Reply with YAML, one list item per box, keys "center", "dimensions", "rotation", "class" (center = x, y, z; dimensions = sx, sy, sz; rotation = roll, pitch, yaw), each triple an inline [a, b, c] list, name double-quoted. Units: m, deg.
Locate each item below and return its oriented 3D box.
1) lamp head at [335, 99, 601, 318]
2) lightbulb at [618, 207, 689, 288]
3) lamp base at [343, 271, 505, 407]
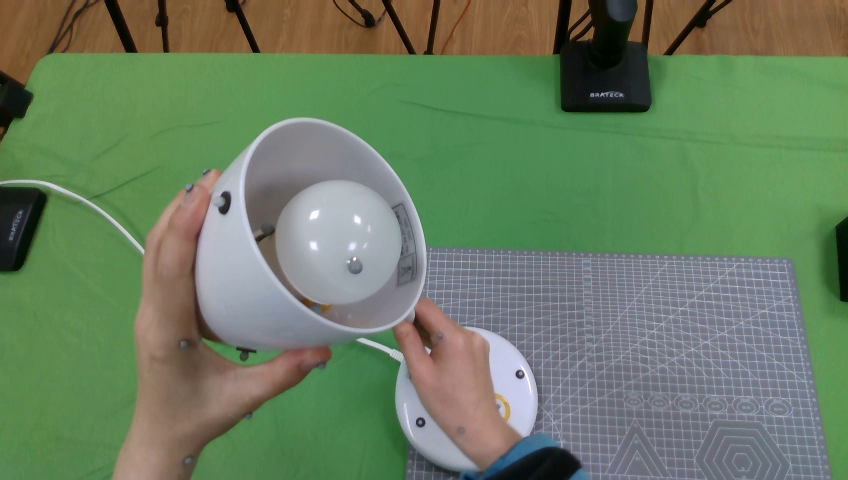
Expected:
- center: [0.013, -0.023, 0.331]
  dimensions: [0.124, 0.112, 0.112]
  rotation: [17, 71, -28]
  class: "lamp head"
- center: [0.252, 0.005, 0.679]
  dimensions: [0.059, 0.060, 0.106]
  rotation: [-22, 57, -2]
  class: "lightbulb"
- center: [-0.010, 0.078, 0.607]
  dimensions: [0.179, 0.181, 0.159]
  rotation: [7, 73, 10]
  class: "lamp base"
